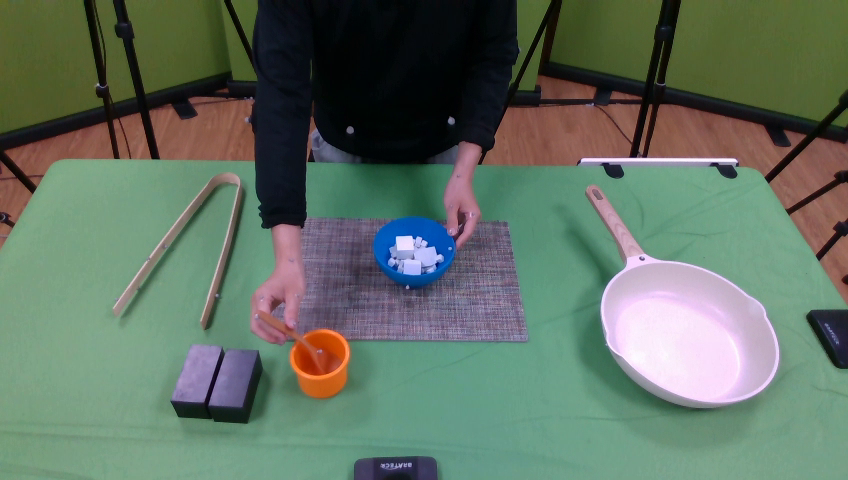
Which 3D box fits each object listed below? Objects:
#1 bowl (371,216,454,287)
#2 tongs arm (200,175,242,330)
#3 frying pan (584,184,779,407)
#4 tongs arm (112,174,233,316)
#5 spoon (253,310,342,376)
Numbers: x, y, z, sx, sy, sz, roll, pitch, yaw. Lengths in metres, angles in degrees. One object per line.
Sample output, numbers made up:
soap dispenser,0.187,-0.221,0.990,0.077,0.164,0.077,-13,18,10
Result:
bowl,-0.022,0.034,1.119,0.151,0.077,0.150,2,46,-2
tongs arm,-0.387,0.008,1.158,0.028,0.028,0.385,-1,46,-3
frying pan,0.412,0.079,1.097,0.307,0.103,0.484,-10,56,-15
tongs arm,-0.467,-0.004,1.157,0.051,0.026,0.383,11,45,4
spoon,-0.190,0.156,0.928,0.021,0.195,0.041,-20,43,22
